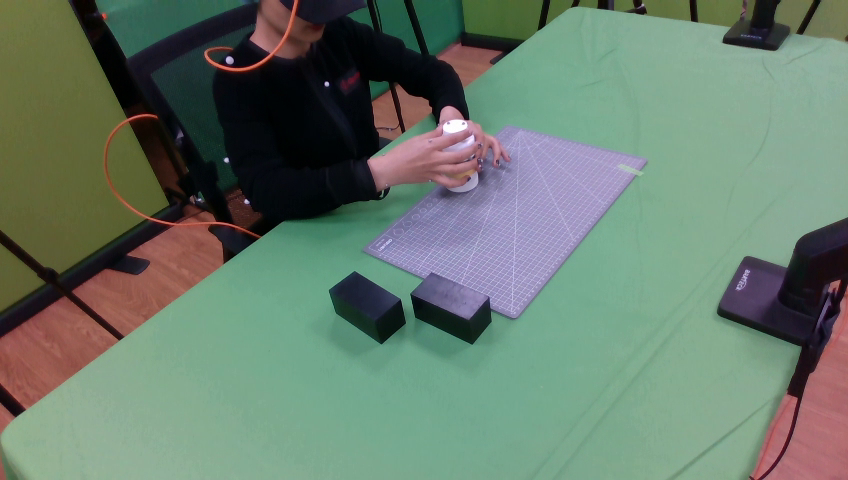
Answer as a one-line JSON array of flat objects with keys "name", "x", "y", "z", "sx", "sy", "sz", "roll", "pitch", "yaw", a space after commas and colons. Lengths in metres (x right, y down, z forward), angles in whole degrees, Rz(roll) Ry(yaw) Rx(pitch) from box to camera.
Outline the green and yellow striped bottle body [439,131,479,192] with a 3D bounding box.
[{"name": "green and yellow striped bottle body", "x": 0.062, "y": -0.149, "z": 1.066, "sx": 0.063, "sy": 0.120, "sz": 0.063, "roll": -6, "pitch": 40, "yaw": 5}]

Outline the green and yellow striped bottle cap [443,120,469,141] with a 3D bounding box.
[{"name": "green and yellow striped bottle cap", "x": 0.054, "y": -0.188, "z": 1.032, "sx": 0.045, "sy": 0.020, "sz": 0.045, "roll": -6, "pitch": 38, "yaw": 5}]
